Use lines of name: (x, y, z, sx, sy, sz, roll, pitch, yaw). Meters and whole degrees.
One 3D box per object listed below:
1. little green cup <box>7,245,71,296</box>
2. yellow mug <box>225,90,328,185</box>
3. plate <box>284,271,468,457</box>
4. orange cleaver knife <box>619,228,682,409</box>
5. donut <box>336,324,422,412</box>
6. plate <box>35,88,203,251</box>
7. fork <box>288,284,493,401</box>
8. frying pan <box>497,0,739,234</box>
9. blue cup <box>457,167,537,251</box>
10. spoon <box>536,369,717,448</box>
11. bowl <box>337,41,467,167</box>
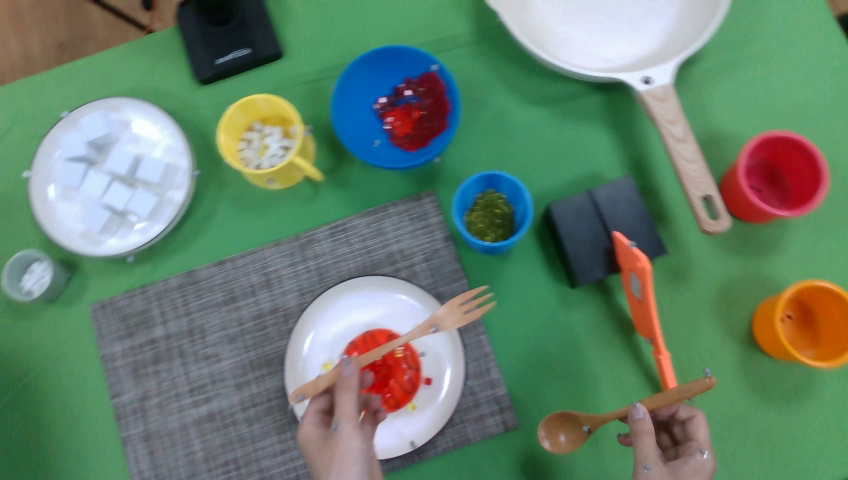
little green cup: (-0.468, 0.039, 0.741, 0.061, 0.039, 0.061, 0, 81, 3)
yellow mug: (-0.171, -0.116, 0.740, 0.130, 0.064, 0.100, 34, 83, 8)
plate: (-0.054, 0.140, 0.697, 0.209, 0.038, 0.208, 0, 80, 3)
orange cleaver knife: (0.250, 0.088, 0.672, 0.012, 0.076, 0.212, -19, 108, 0)
donut: (-0.051, 0.145, 0.685, 0.099, 0.048, 0.099, 0, 83, 3)
plate: (-0.376, -0.086, 0.760, 0.207, 0.039, 0.207, -1, 80, 3)
fork: (-0.030, 0.096, 0.559, 0.207, 0.018, 0.028, -26, 83, -12)
frying pan: (0.257, -0.231, 0.718, 0.307, 0.103, 0.484, -14, 71, 2)
blue cup: (0.080, -0.027, 0.692, 0.092, 0.100, 0.092, 0, 78, 2)
spoon: (0.186, 0.161, 0.577, 0.194, 0.022, 0.041, -35, 68, 40)
bowl: (-0.023, -0.152, 0.733, 0.151, 0.077, 0.151, -1, 80, 3)
